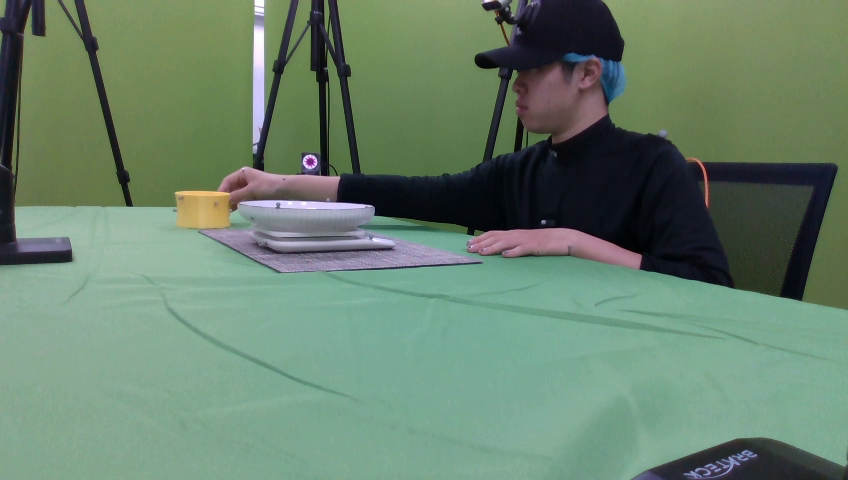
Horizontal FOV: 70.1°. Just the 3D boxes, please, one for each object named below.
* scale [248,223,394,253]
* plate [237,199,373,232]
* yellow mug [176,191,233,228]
[{"bbox_3d":[-0.162,-0.006,0.954,0.202,0.031,0.148,-1,9,-32],"label":"scale"},{"bbox_3d":[-0.183,-0.039,0.941,0.209,0.038,0.209,3,7,0],"label":"plate"},{"bbox_3d":[-0.423,-0.063,1.192,0.099,0.064,0.131,5,8,20],"label":"yellow mug"}]
